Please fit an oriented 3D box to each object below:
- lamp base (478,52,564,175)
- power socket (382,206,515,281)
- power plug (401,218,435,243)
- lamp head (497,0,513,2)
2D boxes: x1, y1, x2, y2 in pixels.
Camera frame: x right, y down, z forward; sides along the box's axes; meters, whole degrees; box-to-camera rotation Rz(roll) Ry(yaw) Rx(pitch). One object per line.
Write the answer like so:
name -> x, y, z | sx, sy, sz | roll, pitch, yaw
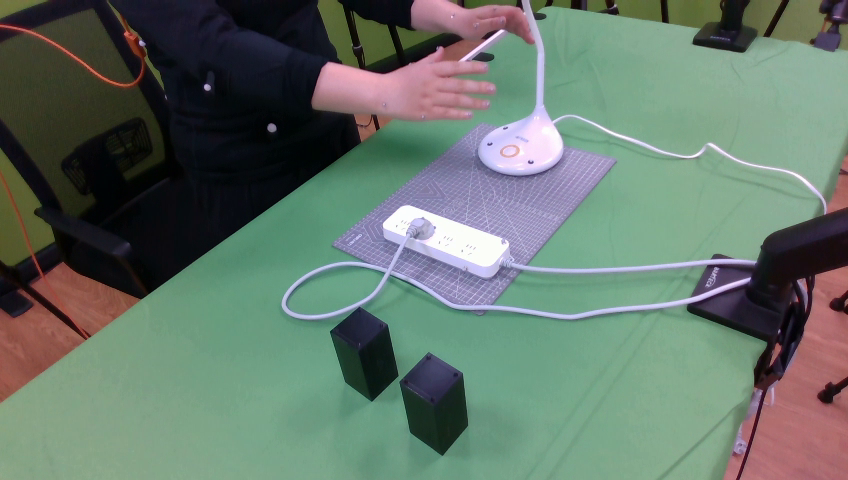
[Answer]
lamp base -> 0.181, -0.236, 1.095 | 0.159, 0.181, 0.179 | 20, 45, 29
power socket -> 0.032, 0.002, 0.950 | 0.225, 0.033, 0.072 | 21, 49, 29
power plug -> -0.014, -0.005, 0.937 | 0.073, 0.053, 0.035 | -37, 46, -27
lamp head -> 0.120, -0.420, 0.861 | 0.111, 0.113, 0.123 | 24, 72, 32
